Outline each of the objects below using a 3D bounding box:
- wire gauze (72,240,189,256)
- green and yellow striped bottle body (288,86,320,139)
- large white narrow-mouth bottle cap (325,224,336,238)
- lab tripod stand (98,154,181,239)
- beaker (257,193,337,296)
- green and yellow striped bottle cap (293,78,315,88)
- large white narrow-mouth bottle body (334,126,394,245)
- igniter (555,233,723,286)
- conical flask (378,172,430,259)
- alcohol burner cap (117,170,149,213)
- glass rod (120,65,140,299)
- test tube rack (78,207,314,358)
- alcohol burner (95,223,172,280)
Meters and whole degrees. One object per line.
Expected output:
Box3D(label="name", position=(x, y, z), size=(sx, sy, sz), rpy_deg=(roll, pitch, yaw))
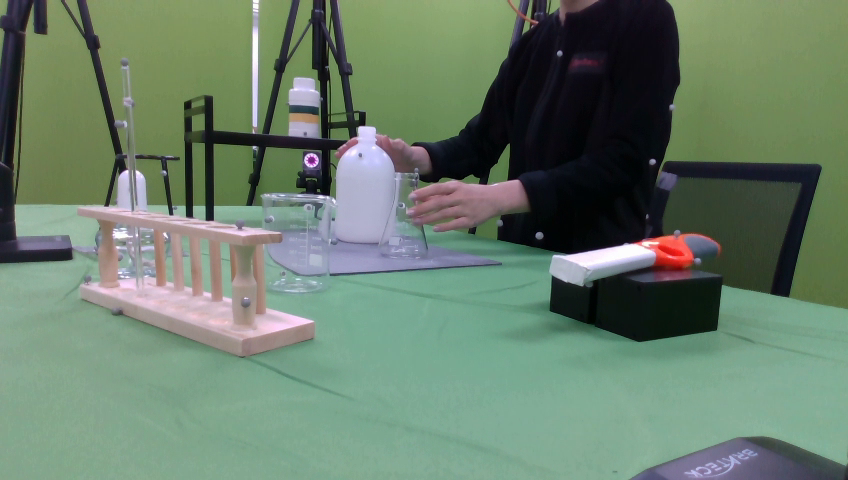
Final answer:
Box3D(label="wire gauze", position=(-0.399, 0.013, 0.820), size=(0.126, 0.011, 0.121), rpy_deg=(-3, 8, -37))
Box3D(label="green and yellow striped bottle body", position=(-0.250, -0.272, 1.261), size=(0.063, 0.119, 0.063), rpy_deg=(3, 7, 0))
Box3D(label="large white narrow-mouth bottle cap", position=(-0.160, -0.016, 1.090), size=(0.038, 0.024, 0.037), rpy_deg=(3, 9, 0))
Box3D(label="lab tripod stand", position=(-0.427, -0.066, 0.942), size=(0.148, 0.131, 0.148), rpy_deg=(1, 6, 0))
Box3D(label="beaker", position=(-0.130, 0.003, 0.628), size=(0.084, 0.100, 0.074), rpy_deg=(5, 8, 15))
Box3D(label="green and yellow striped bottle cap", position=(-0.248, -0.324, 1.256), size=(0.045, 0.020, 0.045), rpy_deg=(4, 8, 0))
Box3D(label="large white narrow-mouth bottle body", position=(-0.099, -0.093, 1.018), size=(0.102, 0.194, 0.101), rpy_deg=(2, 9, 0))
Box3D(label="igniter", position=(0.214, 0.015, 0.570), size=(0.278, 0.025, 0.057), rpy_deg=(-6, 22, -44))
Box3D(label="conical flask", position=(-0.027, -0.037, 0.868), size=(0.075, 0.122, 0.075), rpy_deg=(2, 7, 0))
Box3D(label="alcohol burner cap", position=(-0.320, -0.052, 0.661), size=(0.034, 0.048, 0.034), rpy_deg=(-3, 0, 0))
Box3D(label="glass rod", position=(-0.249, -0.047, 0.513), size=(0.008, 0.199, 0.008), rpy_deg=(-1, 4, 0))
Box3D(label="test tube rack", position=(-0.197, 0.024, 0.499), size=(0.241, 0.085, 0.067), rpy_deg=(8, 8, 37))
Box3D(label="alcohol burner", position=(-0.320, -0.016, 0.667), size=(0.078, 0.119, 0.078), rpy_deg=(0, 7, 0))
